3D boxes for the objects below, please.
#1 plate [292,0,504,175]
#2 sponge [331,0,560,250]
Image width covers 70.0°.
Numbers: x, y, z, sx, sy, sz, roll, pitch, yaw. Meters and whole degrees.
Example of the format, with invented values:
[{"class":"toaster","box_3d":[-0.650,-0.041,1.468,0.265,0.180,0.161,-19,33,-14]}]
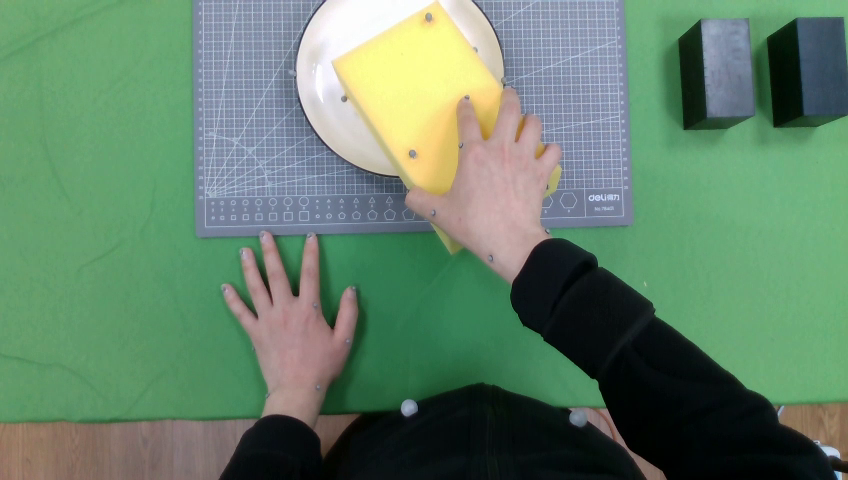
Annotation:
[{"class":"plate","box_3d":[-0.025,-0.166,0.613,0.209,0.038,0.208,0,87,-3]},{"class":"sponge","box_3d":[0.018,-0.109,0.570,0.118,0.061,0.205,-33,75,-4]}]
